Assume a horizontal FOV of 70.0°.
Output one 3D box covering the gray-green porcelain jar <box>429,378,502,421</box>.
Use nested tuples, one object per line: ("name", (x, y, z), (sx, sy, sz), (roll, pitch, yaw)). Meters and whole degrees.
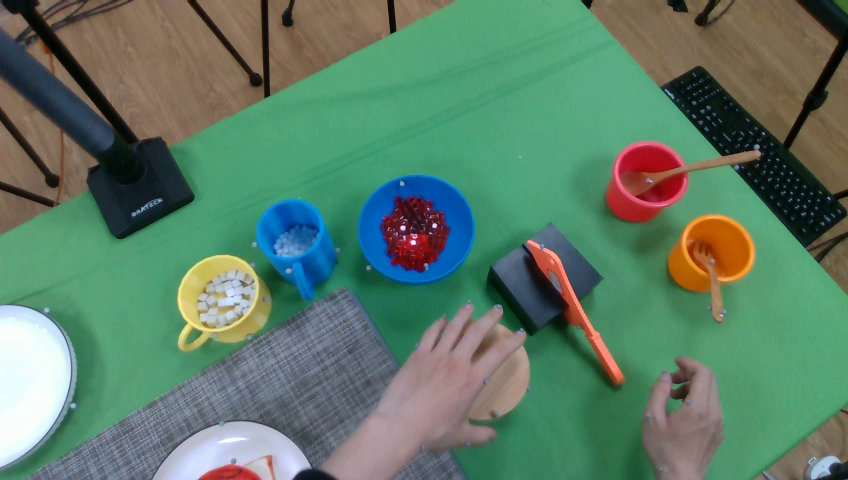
("gray-green porcelain jar", (0.058, 0.157, 0.714), (0.106, 0.127, 0.105), (0, 69, 0))

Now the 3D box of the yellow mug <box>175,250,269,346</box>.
("yellow mug", (-0.266, 0.082, 0.774), (0.099, 0.064, 0.130), (34, 74, 13))

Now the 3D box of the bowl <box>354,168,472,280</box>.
("bowl", (-0.013, -0.010, 0.802), (0.151, 0.077, 0.150), (0, 70, 0))

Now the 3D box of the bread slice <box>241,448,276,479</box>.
("bread slice", (-0.231, 0.314, 0.702), (0.132, 0.019, 0.104), (-18, 70, -10))

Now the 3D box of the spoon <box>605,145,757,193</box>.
("spoon", (0.331, -0.096, 0.797), (0.022, 0.193, 0.041), (32, 59, -36))

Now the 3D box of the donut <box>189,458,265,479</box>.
("donut", (-0.221, 0.295, 0.676), (0.099, 0.048, 0.098), (1, 69, -2))

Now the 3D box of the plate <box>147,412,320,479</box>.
("plate", (-0.219, 0.308, 0.701), (0.209, 0.038, 0.207), (0, 69, 0))

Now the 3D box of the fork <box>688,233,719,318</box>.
("fork", (0.346, 0.038, 0.745), (0.028, 0.019, 0.206), (29, 28, 4))

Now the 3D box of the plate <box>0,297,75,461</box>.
("plate", (-0.537, 0.175, 0.755), (0.208, 0.039, 0.206), (0, 70, 0))

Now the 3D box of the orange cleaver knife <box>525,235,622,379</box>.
("orange cleaver knife", (0.187, 0.084, 0.764), (0.012, 0.077, 0.212), (-34, 103, -11))

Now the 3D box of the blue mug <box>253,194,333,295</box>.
("blue mug", (-0.163, 0.015, 0.779), (0.082, 0.106, 0.115), (-12, 70, -4))

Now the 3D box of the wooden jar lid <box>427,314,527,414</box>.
("wooden jar lid", (0.057, 0.134, 0.655), (0.108, 0.021, 0.107), (1, 70, -2))
